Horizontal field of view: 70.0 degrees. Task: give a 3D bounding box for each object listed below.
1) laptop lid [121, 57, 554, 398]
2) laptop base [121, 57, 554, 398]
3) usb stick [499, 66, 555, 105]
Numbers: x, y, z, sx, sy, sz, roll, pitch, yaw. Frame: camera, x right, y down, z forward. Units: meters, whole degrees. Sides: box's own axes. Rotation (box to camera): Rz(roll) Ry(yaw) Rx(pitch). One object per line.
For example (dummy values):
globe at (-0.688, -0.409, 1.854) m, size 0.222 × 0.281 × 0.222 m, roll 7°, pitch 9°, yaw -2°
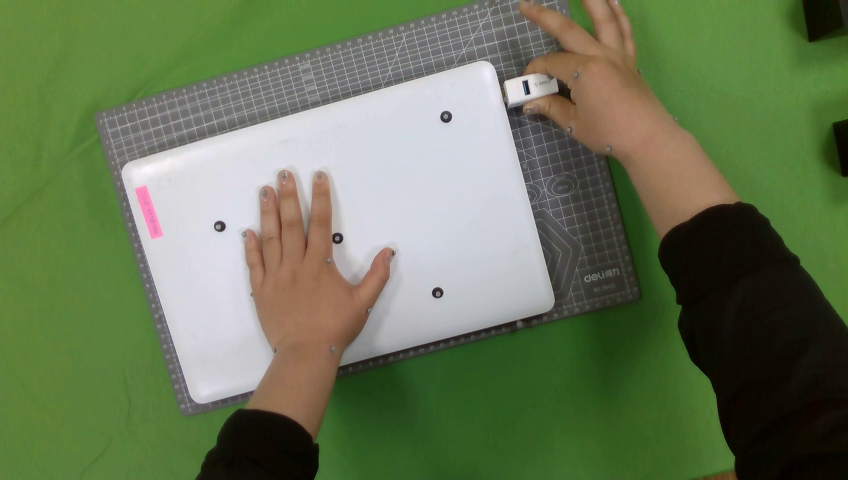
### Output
laptop lid at (-0.079, -0.005, 0.552) m, size 0.356 × 0.013 × 0.242 m, roll -14°, pitch 96°, yaw 4°
laptop base at (-0.079, -0.007, 0.562) m, size 0.354 × 0.023 × 0.236 m, roll -16°, pitch 97°, yaw 3°
usb stick at (0.084, -0.135, 0.535) m, size 0.059 × 0.027 × 0.021 m, roll -12°, pitch 88°, yaw 3°
